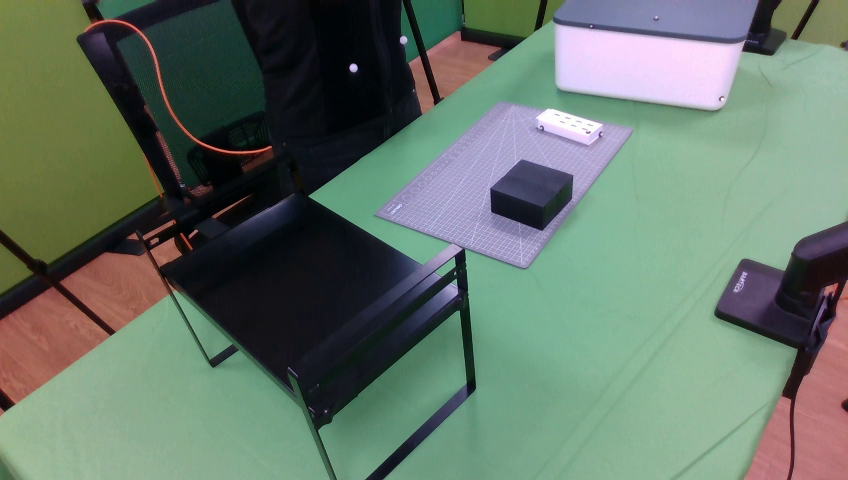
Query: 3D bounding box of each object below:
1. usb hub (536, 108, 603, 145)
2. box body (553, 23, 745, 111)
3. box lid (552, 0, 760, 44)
[{"bbox_3d":[0.284,-0.225,1.188,0.124,0.025,0.049,28,52,35],"label":"usb hub"},{"bbox_3d":[0.480,-0.417,1.282,0.362,0.161,0.254,15,46,24],"label":"box body"},{"bbox_3d":[0.471,-0.473,1.234,0.369,0.015,0.263,16,45,24],"label":"box lid"}]
